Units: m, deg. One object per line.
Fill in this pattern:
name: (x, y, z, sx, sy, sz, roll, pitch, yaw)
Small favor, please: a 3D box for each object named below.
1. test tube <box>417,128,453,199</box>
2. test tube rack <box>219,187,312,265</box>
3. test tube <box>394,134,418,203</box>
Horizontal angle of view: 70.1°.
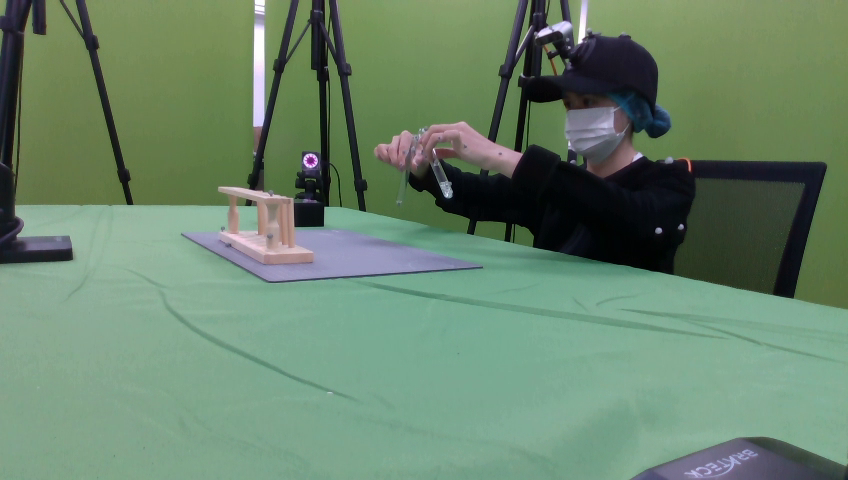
test tube: (0.017, -0.124, 0.967, 0.017, 0.017, 0.150, -1, 52, -28)
test tube rack: (-0.235, -0.027, 0.872, 0.067, 0.085, 0.241, -2, 8, -31)
test tube: (-0.033, -0.123, 1.077, 0.017, 0.150, 0.017, 9, 43, -8)
